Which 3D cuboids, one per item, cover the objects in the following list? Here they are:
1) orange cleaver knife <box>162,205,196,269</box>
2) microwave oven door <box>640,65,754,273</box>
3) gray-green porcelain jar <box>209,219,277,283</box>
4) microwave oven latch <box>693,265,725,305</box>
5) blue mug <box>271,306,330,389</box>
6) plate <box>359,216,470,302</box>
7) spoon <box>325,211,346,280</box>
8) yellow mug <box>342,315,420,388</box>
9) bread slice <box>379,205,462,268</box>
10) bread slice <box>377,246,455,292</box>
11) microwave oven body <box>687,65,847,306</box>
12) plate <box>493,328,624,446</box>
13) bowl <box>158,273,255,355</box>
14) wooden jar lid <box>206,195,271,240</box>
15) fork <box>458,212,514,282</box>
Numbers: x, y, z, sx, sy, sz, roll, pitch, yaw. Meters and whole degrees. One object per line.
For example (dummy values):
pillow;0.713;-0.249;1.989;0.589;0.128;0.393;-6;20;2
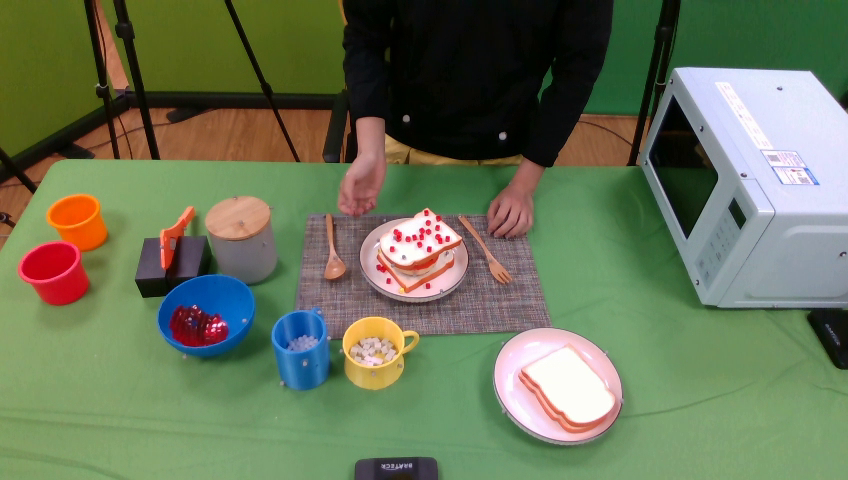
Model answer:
orange cleaver knife;-0.454;-0.010;1.129;0.012;0.077;0.210;-1;20;-5
microwave oven door;0.523;-0.147;1.193;0.039;0.245;0.353;0;47;-3
gray-green porcelain jar;-0.323;0.007;1.092;0.106;0.127;0.105;2;46;-2
microwave oven latch;0.523;0.081;1.115;0.030;0.029;0.078;2;46;-1
blue mug;-0.188;0.163;0.969;0.082;0.106;0.116;15;47;10
plate;-0.019;0.038;1.140;0.209;0.038;0.208;2;46;-2
spoon;-0.177;0.006;1.170;0.041;0.022;0.192;-22;48;8
yellow mug;-0.068;0.177;0.990;0.131;0.064;0.099;-15;50;-19
bread slice;-0.012;-0.001;1.097;0.134;0.018;0.106;-33;51;-23
bread slice;-0.010;0.033;1.150;0.131;0.019;0.104;-28;56;-24
microwave oven body;0.669;-0.111;1.176;0.326;0.261;0.439;0;46;-3
plate;0.213;0.236;0.974;0.208;0.039;0.206;2;46;-2
bowl;-0.351;0.136;1.001;0.151;0.077;0.150;2;46;-2
wooden jar lid;-0.319;-0.036;1.046;0.108;0.021;0.107;1;44;0
fork;0.116;0.011;1.188;0.028;0.019;0.206;-21;52;-13
